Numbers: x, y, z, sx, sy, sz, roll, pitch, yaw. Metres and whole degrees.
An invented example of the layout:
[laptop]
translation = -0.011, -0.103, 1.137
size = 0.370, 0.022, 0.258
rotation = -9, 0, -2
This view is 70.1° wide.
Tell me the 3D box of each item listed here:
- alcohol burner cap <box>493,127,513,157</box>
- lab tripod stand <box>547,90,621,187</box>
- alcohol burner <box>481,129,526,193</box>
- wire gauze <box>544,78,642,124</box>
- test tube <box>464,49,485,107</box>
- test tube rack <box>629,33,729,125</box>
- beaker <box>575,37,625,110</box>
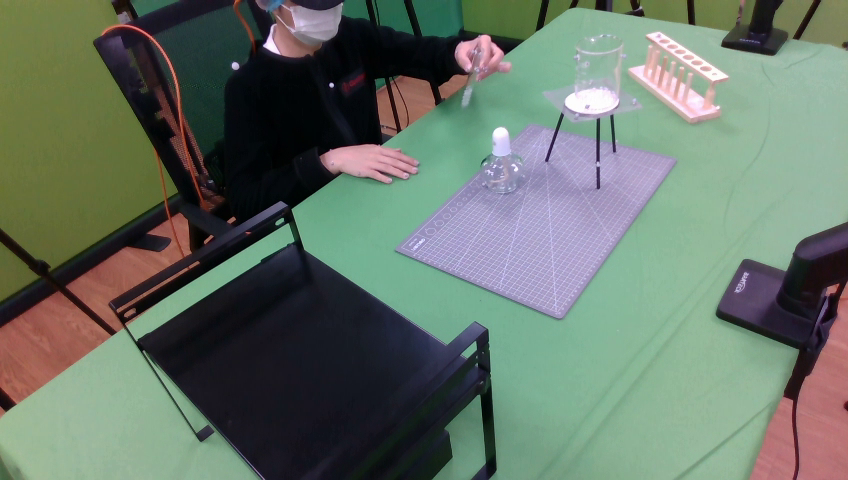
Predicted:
[alcohol burner cap]
translation = 0.132, -0.169, 1.030
size = 0.034, 0.048, 0.033
rotation = -6, 36, 5
[lab tripod stand]
translation = 0.289, -0.184, 1.062
size = 0.148, 0.132, 0.147
rotation = -6, 41, 6
[alcohol burner]
translation = 0.138, -0.142, 1.052
size = 0.078, 0.119, 0.077
rotation = -5, 42, 5
[wire gauze]
translation = 0.282, -0.234, 1.021
size = 0.125, 0.011, 0.120
rotation = -17, 38, -4
[test tube]
translation = 0.091, -0.293, 1.106
size = 0.017, 0.150, 0.017
rotation = 2, 65, -4
[test tube rack]
translation = 0.516, -0.337, 1.247
size = 0.067, 0.085, 0.240
rotation = -14, 41, -7
[beaker]
translation = 0.283, -0.271, 0.988
size = 0.074, 0.101, 0.083
rotation = -10, 39, 1
